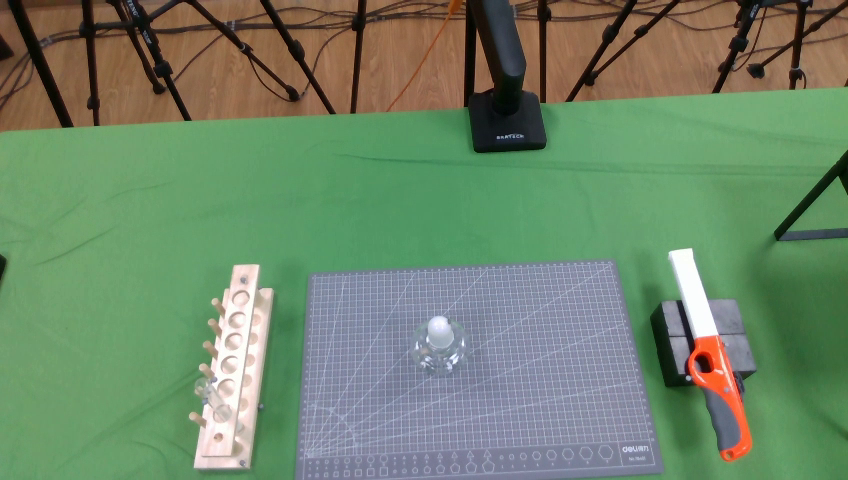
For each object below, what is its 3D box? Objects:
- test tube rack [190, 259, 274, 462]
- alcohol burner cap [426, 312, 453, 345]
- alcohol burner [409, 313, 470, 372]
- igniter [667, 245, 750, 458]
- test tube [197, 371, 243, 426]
[{"bbox_3d":[-0.248,0.150,0.773,0.067,0.086,0.240,-1,61,0],"label":"test tube rack"},{"bbox_3d":[0.018,0.104,0.736,0.034,0.048,0.033,-1,59,2],"label":"alcohol burner cap"},{"bbox_3d":[0.019,0.123,0.768,0.078,0.120,0.077,0,62,1],"label":"alcohol burner"},{"bbox_3d":[0.354,0.130,0.761,0.057,0.025,0.274,-8,59,9],"label":"igniter"},{"bbox_3d":[-0.232,0.185,0.696,0.017,0.151,0.017,1,56,-1],"label":"test tube"}]
